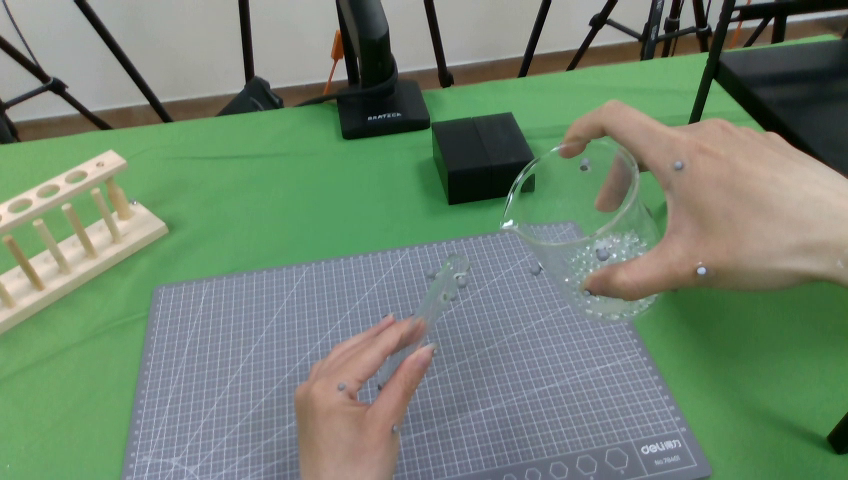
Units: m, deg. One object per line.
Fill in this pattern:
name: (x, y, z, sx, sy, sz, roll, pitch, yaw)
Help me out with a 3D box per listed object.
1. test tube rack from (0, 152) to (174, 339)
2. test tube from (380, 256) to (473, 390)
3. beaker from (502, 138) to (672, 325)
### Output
test tube rack: (-0.388, 0.013, 0.609, 0.066, 0.086, 0.242, 31, 53, 30)
test tube: (-0.002, 0.062, 0.415, 0.017, 0.151, 0.017, 14, 45, -14)
beaker: (0.102, 0.001, 0.366, 0.084, 0.101, 0.073, -23, 46, 19)
